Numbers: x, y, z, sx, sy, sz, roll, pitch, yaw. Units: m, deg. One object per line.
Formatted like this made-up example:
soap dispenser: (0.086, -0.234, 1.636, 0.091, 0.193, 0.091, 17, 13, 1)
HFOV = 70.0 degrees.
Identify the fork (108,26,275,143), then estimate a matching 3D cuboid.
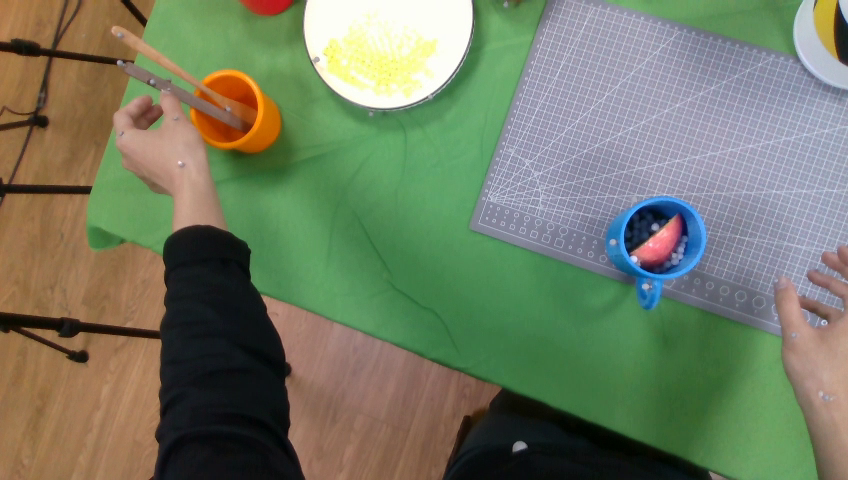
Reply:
fork: (-0.265, -0.178, 0.706, 0.209, 0.018, 0.028, 34, 94, -36)

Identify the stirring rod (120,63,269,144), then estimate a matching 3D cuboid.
stirring rod: (-0.263, -0.157, 0.708, 0.178, 0.006, 0.014, 26, 80, -32)

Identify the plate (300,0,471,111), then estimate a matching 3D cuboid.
plate: (-0.045, -0.257, 0.731, 0.209, 0.038, 0.209, 0, 89, 9)

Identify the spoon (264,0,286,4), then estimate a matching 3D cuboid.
spoon: (-0.245, -0.341, 0.709, 0.195, 0.021, 0.041, 24, 92, -35)

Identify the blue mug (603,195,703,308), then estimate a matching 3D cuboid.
blue mug: (0.239, 0.015, 0.648, 0.082, 0.106, 0.116, 4, 90, 9)

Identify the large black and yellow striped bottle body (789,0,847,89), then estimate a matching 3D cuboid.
large black and yellow striped bottle body: (0.456, -0.235, 0.581, 0.130, 0.184, 0.130, 0, 86, 8)

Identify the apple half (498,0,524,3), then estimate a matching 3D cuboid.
apple half: (0.096, -0.302, 0.694, 0.080, 0.074, 0.053, 23, 96, 5)

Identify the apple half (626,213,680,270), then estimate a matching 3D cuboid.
apple half: (0.246, 0.008, 0.641, 0.081, 0.081, 0.032, -40, 75, 6)
